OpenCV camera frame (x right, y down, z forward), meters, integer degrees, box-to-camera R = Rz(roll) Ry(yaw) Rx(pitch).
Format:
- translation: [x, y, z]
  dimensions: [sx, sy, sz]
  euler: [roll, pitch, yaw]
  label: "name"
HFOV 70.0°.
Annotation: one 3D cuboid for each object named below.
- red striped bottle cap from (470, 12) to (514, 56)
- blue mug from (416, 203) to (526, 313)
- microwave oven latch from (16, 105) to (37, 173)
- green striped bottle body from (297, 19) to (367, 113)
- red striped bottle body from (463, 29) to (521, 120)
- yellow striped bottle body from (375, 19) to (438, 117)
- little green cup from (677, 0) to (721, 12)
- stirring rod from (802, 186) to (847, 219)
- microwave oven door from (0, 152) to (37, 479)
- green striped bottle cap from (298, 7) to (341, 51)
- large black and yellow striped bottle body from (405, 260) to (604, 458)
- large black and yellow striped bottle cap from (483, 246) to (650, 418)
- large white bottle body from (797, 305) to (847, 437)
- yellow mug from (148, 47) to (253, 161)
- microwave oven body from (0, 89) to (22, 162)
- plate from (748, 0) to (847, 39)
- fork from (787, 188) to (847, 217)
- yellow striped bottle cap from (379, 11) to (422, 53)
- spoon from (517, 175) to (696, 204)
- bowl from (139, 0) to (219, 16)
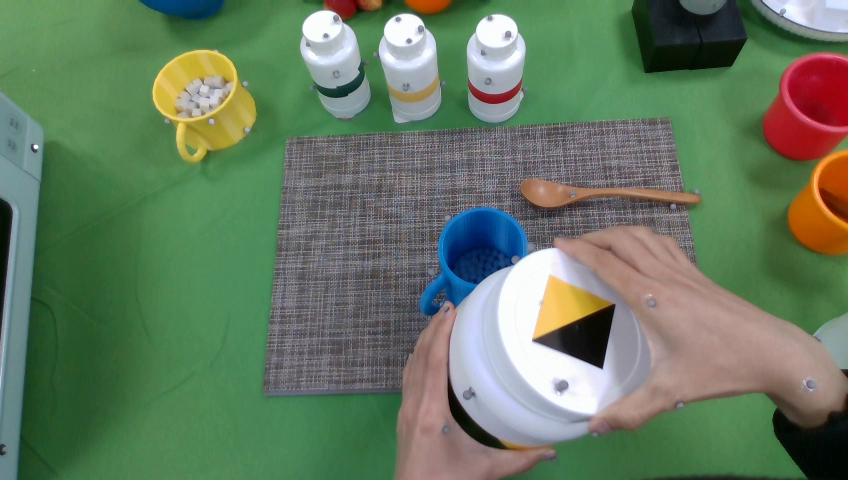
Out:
- translation: [0.070, -0.213, 0.624]
  dimensions: [0.044, 0.018, 0.044]
  euler: [0, 66, 1]
  label: "red striped bottle cap"
- translation: [0.041, 0.032, 0.589]
  dimensions: [0.116, 0.106, 0.081]
  euler: [-34, 68, -9]
  label: "blue mug"
- translation: [-0.476, -0.116, 0.711]
  dimensions: [0.030, 0.030, 0.078]
  euler: [-9, 69, 1]
  label: "microwave oven latch"
- translation: [-0.105, -0.204, 0.692]
  dimensions: [0.063, 0.120, 0.062]
  euler: [-1, 68, 4]
  label: "green striped bottle body"
- translation: [0.075, -0.192, 0.673]
  dimensions: [0.063, 0.120, 0.062]
  euler: [-2, 67, 4]
  label: "red striped bottle body"
- translation: [-0.019, -0.198, 0.682]
  dimensions: [0.063, 0.121, 0.062]
  euler: [-2, 67, 5]
  label: "yellow striped bottle body"
- translation: [0.314, -0.290, 0.681]
  dimensions: [0.061, 0.039, 0.061]
  euler: [-1, 66, 3]
  label: "little green cup"
- translation: [0.406, -0.020, 0.568]
  dimensions: [0.014, 0.006, 0.175]
  euler: [1, 25, 2]
  label: "stirring rod"
- translation: [-0.449, 0.045, 0.535]
  dimensions: [0.039, 0.245, 0.353]
  euler: [-11, 68, 1]
  label: "microwave oven door"
- translation: [-0.111, -0.224, 0.644]
  dimensions: [0.044, 0.020, 0.044]
  euler: [-1, 68, 2]
  label: "green striped bottle cap"
- translation: [0.070, 0.094, 0.476]
  dimensions: [0.131, 0.184, 0.129]
  euler: [8, 62, -15]
  label: "large black and yellow striped bottle body"
- translation: [0.095, 0.058, 0.401]
  dimensions: [0.115, 0.019, 0.114]
  euler: [9, 61, -15]
  label: "large black and yellow striped bottle cap"
- translation: [0.413, 0.096, 0.493]
  dimensions: [0.130, 0.186, 0.129]
  euler: [-2, 68, 4]
  label: "large white bottle body"
- translation: [-0.266, -0.154, 0.714]
  dimensions: [0.100, 0.064, 0.130]
  euler: [7, 70, 7]
  label: "yellow mug"
- translation: [-0.599, 0.036, 0.556]
  dimensions: [0.326, 0.262, 0.438]
  euler: [-11, 68, 0]
  label: "microwave oven body"
- translation: [0.482, -0.326, 0.736]
  dimensions: [0.209, 0.038, 0.207]
  euler: [-1, 69, 4]
  label: "plate"
- translation: [0.435, -0.020, 0.557]
  dimensions: [0.028, 0.019, 0.205]
  euler: [-29, 24, -15]
  label: "fork"
- translation: [-0.025, -0.218, 0.634]
  dimensions: [0.044, 0.019, 0.044]
  euler: [0, 65, 0]
  label: "yellow striped bottle cap"
- translation: [0.197, -0.053, 0.655]
  dimensions: [0.193, 0.022, 0.041]
  euler: [1, 47, 5]
  label: "spoon"
- translation: [-0.314, -0.349, 0.789]
  dimensions: [0.151, 0.077, 0.150]
  euler: [-1, 68, 4]
  label: "bowl"
